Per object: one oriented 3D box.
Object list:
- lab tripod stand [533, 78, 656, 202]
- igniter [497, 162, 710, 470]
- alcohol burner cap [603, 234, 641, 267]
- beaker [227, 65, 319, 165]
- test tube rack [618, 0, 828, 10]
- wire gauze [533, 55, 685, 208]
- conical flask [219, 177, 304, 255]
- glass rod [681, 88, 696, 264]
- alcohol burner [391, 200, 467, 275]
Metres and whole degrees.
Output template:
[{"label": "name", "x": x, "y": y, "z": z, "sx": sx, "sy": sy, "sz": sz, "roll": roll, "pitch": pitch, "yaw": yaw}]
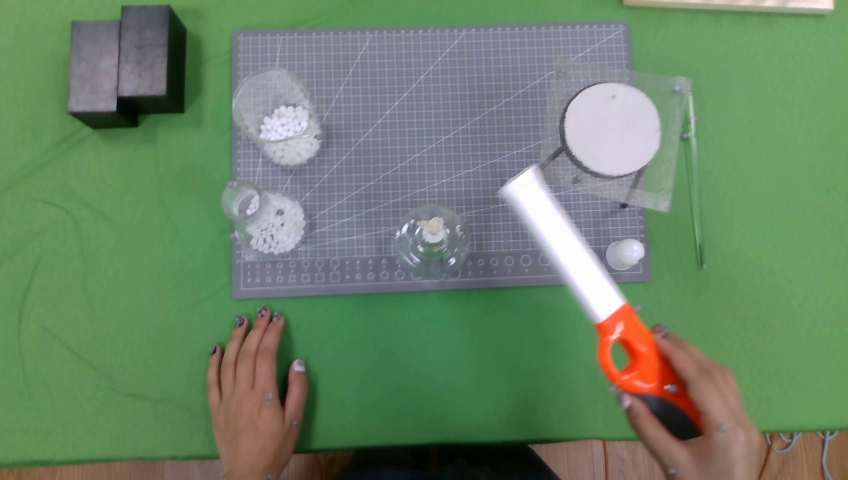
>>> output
[{"label": "lab tripod stand", "x": 0.160, "y": -0.091, "z": 0.608, "sx": 0.148, "sy": 0.131, "sz": 0.148, "roll": 0, "pitch": 84, "yaw": -1}, {"label": "igniter", "x": 0.145, "y": 0.063, "z": 0.472, "sx": 0.057, "sy": 0.025, "sz": 0.277, "roll": -36, "pitch": 97, "yaw": -13}, {"label": "alcohol burner cap", "x": 0.212, "y": 0.009, "z": 0.642, "sx": 0.034, "sy": 0.048, "sz": 0.033, "roll": 0, "pitch": 81, "yaw": -2}, {"label": "beaker", "x": -0.146, "y": -0.121, "z": 0.619, "sx": 0.084, "sy": 0.100, "sz": 0.074, "roll": 34, "pitch": 82, "yaw": 3}, {"label": "test tube rack", "x": 0.348, "y": -0.312, "z": 0.671, "sx": 0.242, "sy": 0.085, "sz": 0.066, "roll": 1, "pitch": 82, "yaw": -1}, {"label": "wire gauze", "x": 0.165, "y": -0.100, "z": 0.541, "sx": 0.125, "sy": 0.011, "sz": 0.121, "roll": 12, "pitch": 83, "yaw": 0}, {"label": "conical flask", "x": -0.164, "y": -0.029, "z": 0.594, "sx": 0.075, "sy": 0.122, "sz": 0.075, "roll": 0, "pitch": 82, "yaw": -2}, {"label": "glass rod", "x": 0.296, "y": -0.073, "z": 0.676, "sx": 0.008, "sy": 0.008, "sz": 0.199, "roll": -1, "pitch": 85, "yaw": -2}, {"label": "alcohol burner", "x": 0.005, "y": -0.005, "z": 0.601, "sx": 0.078, "sy": 0.119, "sz": 0.077, "roll": 0, "pitch": 82, "yaw": 1}]
